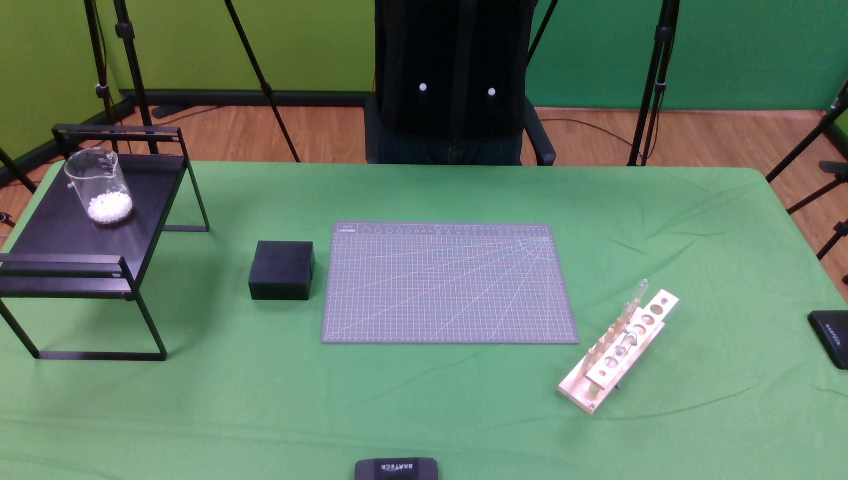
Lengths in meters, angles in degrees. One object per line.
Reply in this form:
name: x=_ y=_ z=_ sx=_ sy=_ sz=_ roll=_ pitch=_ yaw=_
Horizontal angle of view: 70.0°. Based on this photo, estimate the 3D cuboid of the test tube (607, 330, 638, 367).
test tube: x=0.293 y=0.184 z=0.925 sx=0.017 sy=0.151 sz=0.017 roll=4 pitch=48 yaw=-4

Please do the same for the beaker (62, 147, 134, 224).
beaker: x=-0.495 y=-0.080 z=0.933 sx=0.084 sy=0.101 sz=0.074 roll=23 pitch=50 yaw=16

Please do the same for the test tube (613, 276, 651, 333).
test tube: x=0.344 y=0.109 z=1.007 sx=0.017 sy=0.151 sz=0.017 roll=3 pitch=49 yaw=-3

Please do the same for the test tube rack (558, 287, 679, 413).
test tube rack: x=0.326 y=0.170 z=1.009 sx=0.066 sy=0.085 sz=0.242 roll=36 pitch=54 yaw=27
